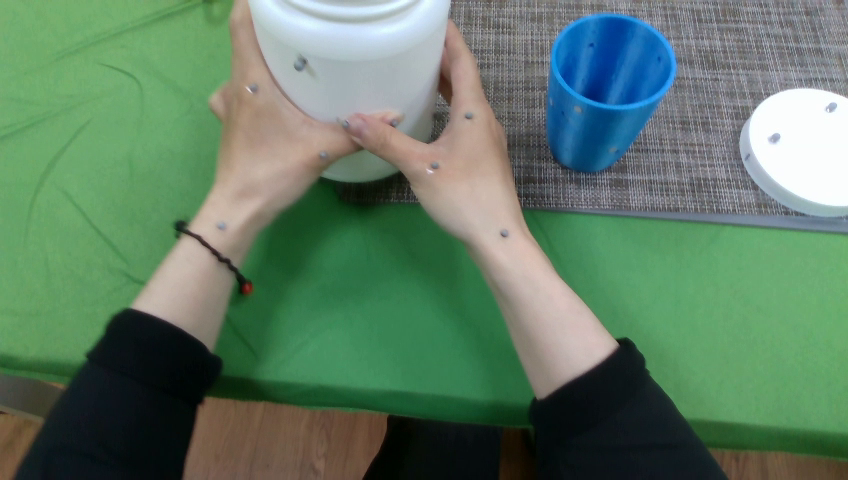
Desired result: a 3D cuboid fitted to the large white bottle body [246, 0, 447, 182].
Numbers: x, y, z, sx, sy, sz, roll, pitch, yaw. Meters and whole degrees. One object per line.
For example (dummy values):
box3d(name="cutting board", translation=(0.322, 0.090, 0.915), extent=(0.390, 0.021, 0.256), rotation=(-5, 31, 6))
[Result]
box3d(name="large white bottle body", translation=(-0.053, -0.142, 0.428), extent=(0.131, 0.186, 0.129), rotation=(3, 62, -5))

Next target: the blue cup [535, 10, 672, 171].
box3d(name="blue cup", translation=(0.129, -0.104, 0.458), extent=(0.092, 0.101, 0.092), rotation=(-1, 64, 3))

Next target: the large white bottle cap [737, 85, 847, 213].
box3d(name="large white bottle cap", translation=(0.313, -0.075, 0.487), extent=(0.115, 0.018, 0.114), rotation=(0, 64, 1))
